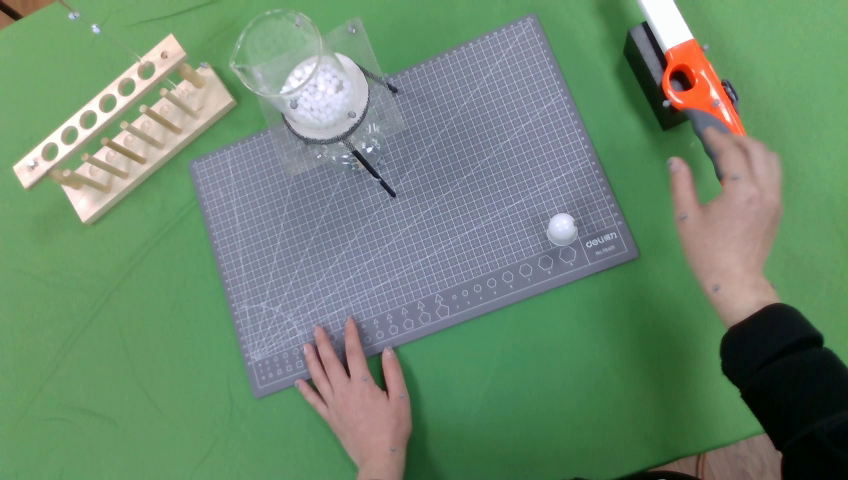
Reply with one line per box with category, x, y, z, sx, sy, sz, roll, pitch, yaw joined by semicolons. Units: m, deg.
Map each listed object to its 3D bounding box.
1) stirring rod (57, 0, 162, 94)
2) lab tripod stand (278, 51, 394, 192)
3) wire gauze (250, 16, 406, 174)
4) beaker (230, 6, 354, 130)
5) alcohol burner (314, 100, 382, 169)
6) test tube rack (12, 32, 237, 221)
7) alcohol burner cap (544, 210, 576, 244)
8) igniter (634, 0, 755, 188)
stirring rod;-0.332;-0.206;0.649;0.006;0.177;0.014;-35;70;-2
lab tripod stand;-0.082;-0.126;0.639;0.148;0.132;0.148;-1;82;9
wire gauze;-0.095;-0.137;0.576;0.125;0.011;0.121;-21;82;5
beaker;-0.110;-0.143;0.530;0.084;0.101;0.073;-8;80;10
alcohol burner;-0.086;-0.119;0.649;0.078;0.120;0.077;-2;80;10
test tube rack;-0.352;-0.128;0.721;0.242;0.085;0.066;-38;76;4
alcohol burner cap;0.141;-0.016;0.626;0.034;0.048;0.033;-2;81;11
igniter;0.250;-0.179;0.590;0.057;0.025;0.275;-22;76;10
